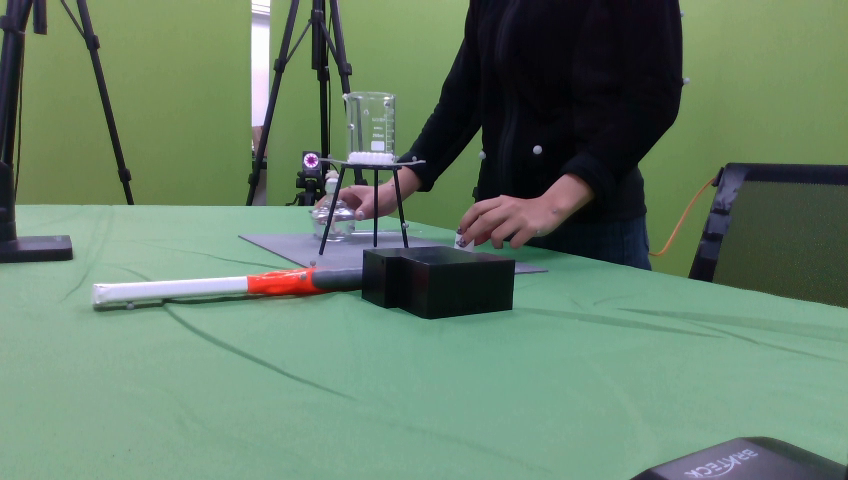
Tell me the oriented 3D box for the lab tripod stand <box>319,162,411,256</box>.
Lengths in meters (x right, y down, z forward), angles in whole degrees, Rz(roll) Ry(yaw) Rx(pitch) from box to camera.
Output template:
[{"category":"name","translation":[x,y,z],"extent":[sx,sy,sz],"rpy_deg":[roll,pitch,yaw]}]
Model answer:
[{"category":"lab tripod stand","translation":[-0.080,-0.047,0.879],"extent":[0.148,0.131,0.148],"rpy_deg":[2,9,0]}]

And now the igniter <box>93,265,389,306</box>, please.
[{"category":"igniter","translation":[-0.164,0.042,0.589],"extent":[0.278,0.025,0.057],"rpy_deg":[-2,-7,-31]}]

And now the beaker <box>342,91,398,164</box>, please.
[{"category":"beaker","translation":[-0.079,-0.160,0.867],"extent":[0.084,0.100,0.073],"rpy_deg":[-5,10,-35]}]

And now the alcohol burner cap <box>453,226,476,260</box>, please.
[{"category":"alcohol burner cap","translation":[0.060,0.003,0.884],"extent":[0.034,0.048,0.034],"rpy_deg":[6,6,0]}]

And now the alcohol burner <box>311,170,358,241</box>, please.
[{"category":"alcohol burner","translation":[-0.150,-0.058,1.011],"extent":[0.078,0.119,0.078],"rpy_deg":[-1,12,1]}]

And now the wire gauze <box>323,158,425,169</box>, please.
[{"category":"wire gauze","translation":[-0.080,-0.112,0.869],"extent":[0.122,0.011,0.124],"rpy_deg":[-6,12,-35]}]

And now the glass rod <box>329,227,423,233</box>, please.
[{"category":"glass rod","translation":[-0.087,-0.019,1.148],"extent":[0.201,0.008,0.008],"rpy_deg":[-3,8,-32]}]
